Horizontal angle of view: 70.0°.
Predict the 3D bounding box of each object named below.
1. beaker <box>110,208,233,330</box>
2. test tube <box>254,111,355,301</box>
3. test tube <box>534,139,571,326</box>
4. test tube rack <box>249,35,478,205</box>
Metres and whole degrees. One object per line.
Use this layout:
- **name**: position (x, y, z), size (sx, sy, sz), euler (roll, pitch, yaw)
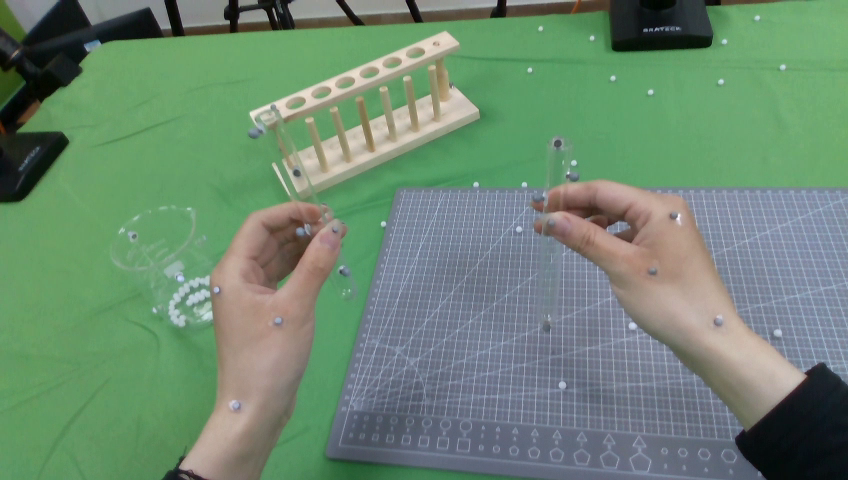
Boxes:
- **beaker**: position (-0.226, 0.029, 0.562), size (0.073, 0.101, 0.084), euler (24, 57, 28)
- **test tube**: position (-0.074, -0.016, 0.399), size (0.017, 0.152, 0.017), euler (-11, 37, 9)
- **test tube**: position (0.087, 0.002, 0.414), size (0.017, 0.151, 0.017), euler (-2, 35, 2)
- **test tube rack**: position (-0.062, -0.138, 0.687), size (0.242, 0.086, 0.066), euler (-26, 49, -12)
